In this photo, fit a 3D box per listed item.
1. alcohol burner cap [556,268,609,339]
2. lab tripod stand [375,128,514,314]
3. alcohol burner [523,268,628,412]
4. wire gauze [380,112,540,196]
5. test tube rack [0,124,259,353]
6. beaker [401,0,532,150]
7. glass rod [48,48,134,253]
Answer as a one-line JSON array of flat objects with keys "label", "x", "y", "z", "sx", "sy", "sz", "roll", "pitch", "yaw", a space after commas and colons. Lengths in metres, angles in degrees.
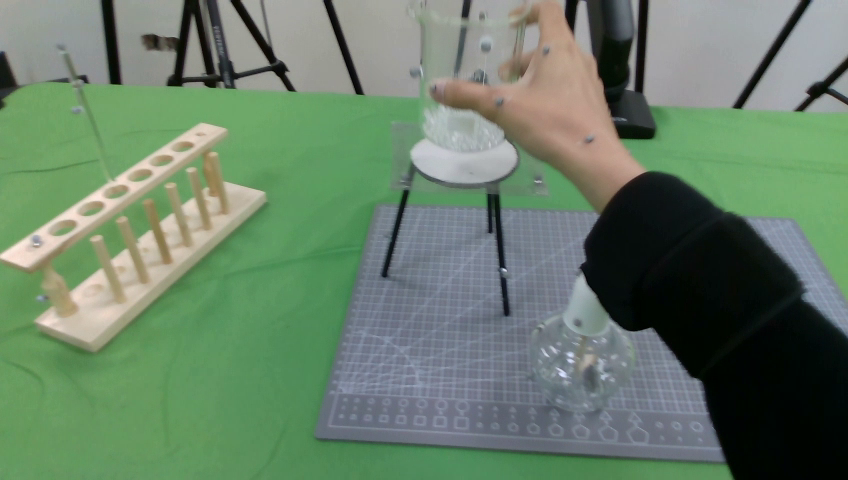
[{"label": "alcohol burner cap", "x": 0.111, "y": 0.042, "z": 0.419, "sx": 0.034, "sy": 0.048, "sz": 0.033, "roll": 2, "pitch": 36, "yaw": -1}, {"label": "lab tripod stand", "x": 0.026, "y": -0.020, "z": 0.538, "sx": 0.148, "sy": 0.132, "sz": 0.147, "roll": -1, "pitch": 41, "yaw": 1}, {"label": "alcohol burner", "x": 0.112, "y": 0.069, "z": 0.442, "sx": 0.078, "sy": 0.120, "sz": 0.077, "roll": 0, "pitch": 37, "yaw": 1}, {"label": "wire gauze", "x": 0.025, "y": -0.072, "z": 0.496, "sx": 0.125, "sy": 0.011, "sz": 0.120, "roll": -2, "pitch": 39, "yaw": 0}, {"label": "test tube rack", "x": -0.263, "y": -0.014, "z": 0.575, "sx": 0.066, "sy": 0.086, "sz": 0.241, "roll": 15, "pitch": 41, "yaw": 18}, {"label": "beaker", "x": 0.026, "y": -0.120, "z": 0.418, "sx": 0.084, "sy": 0.101, "sz": 0.073, "roll": -1, "pitch": 41, "yaw": -4}, {"label": "glass rod", "x": -0.291, "y": -0.068, "z": 0.536, "sx": 0.008, "sy": 0.201, "sz": 0.008, "roll": -3, "pitch": 32, "yaw": 2}]
